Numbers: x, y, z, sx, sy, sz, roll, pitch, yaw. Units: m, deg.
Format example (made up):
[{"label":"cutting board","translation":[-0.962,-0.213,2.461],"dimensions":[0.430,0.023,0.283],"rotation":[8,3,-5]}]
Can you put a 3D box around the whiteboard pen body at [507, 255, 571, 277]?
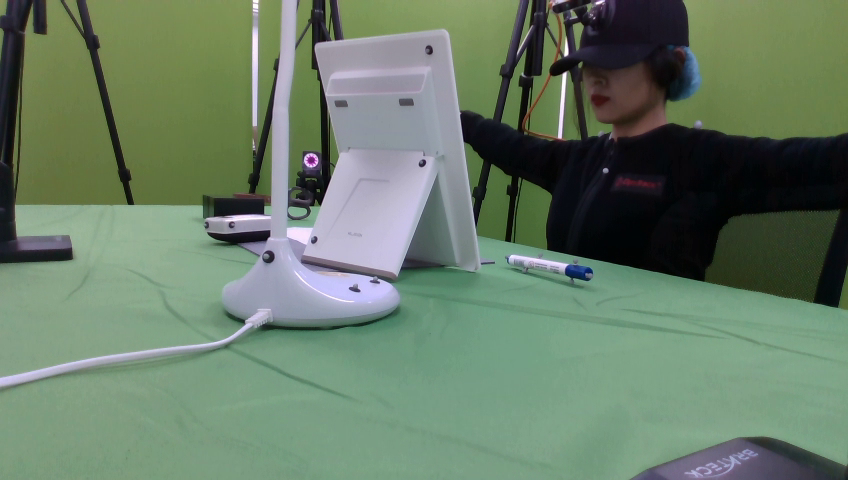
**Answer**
[{"label":"whiteboard pen body","translation":[0.155,0.034,0.772],"dimensions":[0.017,0.017,0.140],"rotation":[-2,7,-31]}]

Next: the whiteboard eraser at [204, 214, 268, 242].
[{"label":"whiteboard eraser","translation":[-0.285,-0.019,0.960],"dimensions":[0.055,0.042,0.113],"rotation":[9,10,36]}]

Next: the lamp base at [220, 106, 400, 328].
[{"label":"lamp base","translation":[-0.101,-0.023,0.531],"dimensions":[0.160,0.180,0.179],"rotation":[4,10,10]}]

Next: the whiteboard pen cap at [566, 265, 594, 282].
[{"label":"whiteboard pen cap","translation":[0.185,0.040,0.722],"dimensions":[0.018,0.018,0.033],"rotation":[-3,6,-33]}]

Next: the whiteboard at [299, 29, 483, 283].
[{"label":"whiteboard","translation":[-0.074,-0.082,0.742],"dimensions":[0.216,0.305,0.144],"rotation":[9,29,38]}]

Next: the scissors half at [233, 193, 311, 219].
[{"label":"scissors half","translation":[-0.330,-0.078,1.320],"dimensions":[0.176,0.040,0.013],"rotation":[16,3,-32]}]

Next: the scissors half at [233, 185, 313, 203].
[{"label":"scissors half","translation":[-0.326,-0.098,1.316],"dimensions":[0.176,0.040,0.012],"rotation":[-5,19,-29]}]
